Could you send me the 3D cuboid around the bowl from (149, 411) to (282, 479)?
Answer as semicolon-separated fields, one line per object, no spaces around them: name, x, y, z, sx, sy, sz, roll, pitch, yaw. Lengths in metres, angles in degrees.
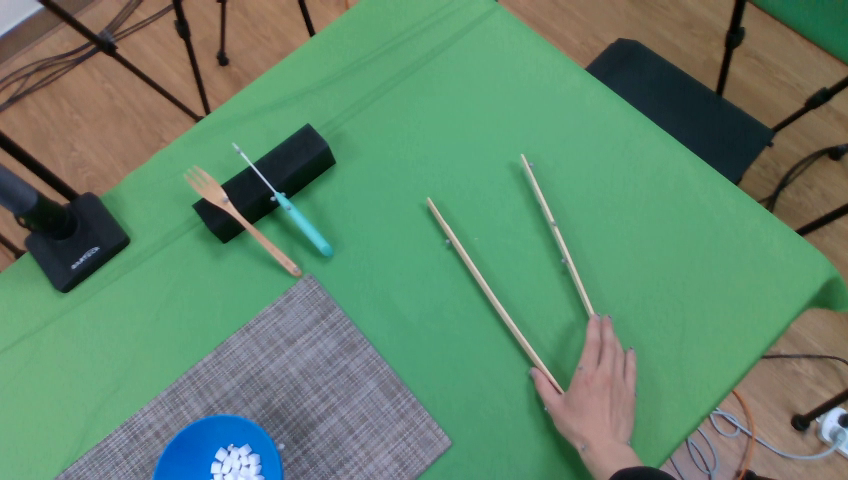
bowl;-0.232;0.282;0.711;0.151;0.077;0.150;-1;68;4

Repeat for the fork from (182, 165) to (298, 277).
fork;-0.250;-0.023;0.833;0.207;0.018;0.028;44;73;-2

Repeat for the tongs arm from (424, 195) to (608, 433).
tongs arm;0.106;0.088;0.793;0.028;0.028;0.384;-31;70;-11

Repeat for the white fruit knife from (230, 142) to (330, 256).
white fruit knife;-0.203;-0.058;0.842;0.016;0.027;0.207;-42;88;-6

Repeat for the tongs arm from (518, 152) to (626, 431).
tongs arm;0.179;0.055;0.796;0.051;0.027;0.381;-20;70;-3
